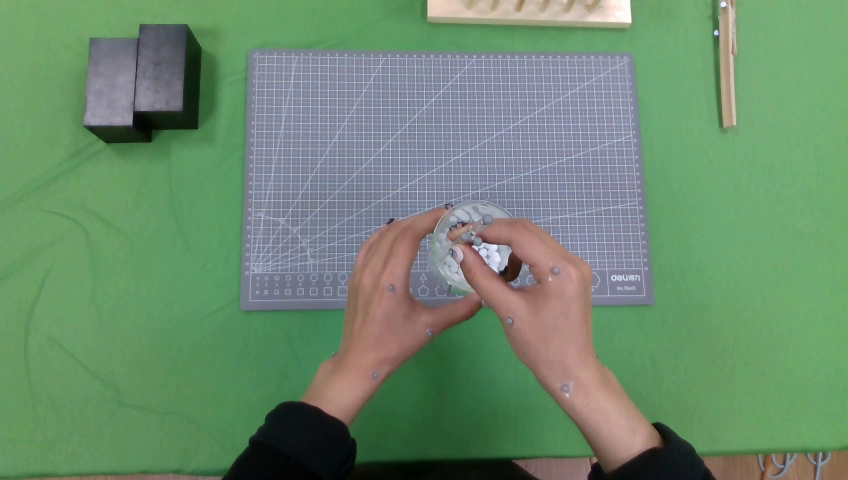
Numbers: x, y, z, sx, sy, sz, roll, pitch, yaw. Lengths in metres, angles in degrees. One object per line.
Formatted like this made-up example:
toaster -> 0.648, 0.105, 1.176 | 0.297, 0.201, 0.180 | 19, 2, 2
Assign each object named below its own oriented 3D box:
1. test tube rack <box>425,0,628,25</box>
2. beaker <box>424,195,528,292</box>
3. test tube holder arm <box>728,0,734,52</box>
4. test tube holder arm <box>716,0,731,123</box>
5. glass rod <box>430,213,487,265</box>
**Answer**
test tube rack -> 0.124, -0.301, 0.690 | 0.242, 0.085, 0.066 | 1, 79, -3
beaker -> 0.040, 0.009, 0.523 | 0.084, 0.100, 0.074 | 18, 82, -2
test tube holder arm -> 0.366, -0.268, 0.732 | 0.010, 0.015, 0.087 | 12, 78, -31
test tube holder arm -> 0.357, -0.225, 0.721 | 0.013, 0.015, 0.177 | 11, 78, -31
glass rod -> 0.021, 0.004, 0.449 | 0.008, 0.200, 0.008 | 1, 80, -8
